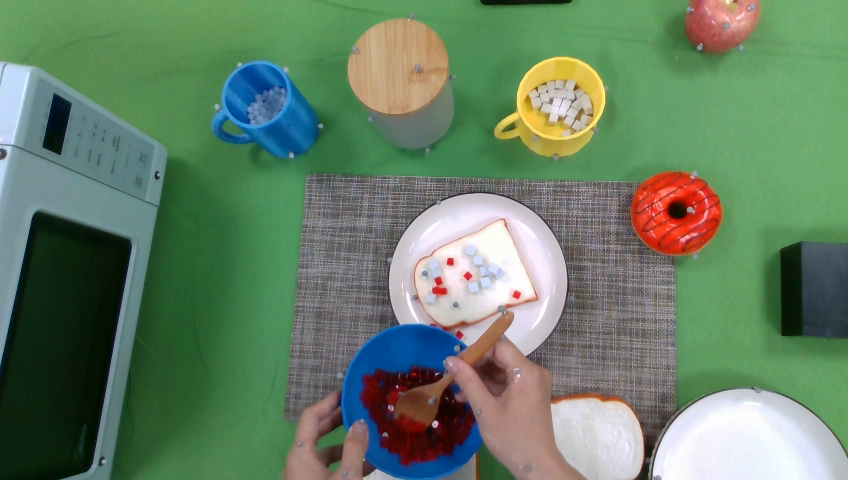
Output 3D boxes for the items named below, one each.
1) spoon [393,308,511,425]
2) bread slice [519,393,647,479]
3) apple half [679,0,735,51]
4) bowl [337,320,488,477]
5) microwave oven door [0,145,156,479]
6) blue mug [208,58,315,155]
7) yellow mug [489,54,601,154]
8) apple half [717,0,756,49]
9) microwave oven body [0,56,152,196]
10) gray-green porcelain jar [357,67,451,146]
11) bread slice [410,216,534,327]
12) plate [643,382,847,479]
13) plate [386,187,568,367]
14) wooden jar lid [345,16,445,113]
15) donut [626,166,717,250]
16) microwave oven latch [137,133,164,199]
[{"bbox_3d":[0.025,0.124,0.577,0.041,0.021,0.194,43,130,5],"label":"spoon"},{"bbox_3d":[0.172,0.219,0.643,0.135,0.018,0.106,-2,77,-14],"label":"bread slice"},{"bbox_3d":[0.320,-0.249,0.708,0.033,0.081,0.081,-30,78,-4],"label":"apple half"},{"bbox_3d":[-0.018,0.164,0.619,0.152,0.077,0.150,6,66,-13],"label":"bowl"},{"bbox_3d":[-0.388,0.106,0.627,0.039,0.245,0.354,5,81,8],"label":"microwave oven door"},{"bbox_3d":[-0.202,-0.152,0.735,0.116,0.106,0.082,-23,79,3],"label":"blue mug"},{"bbox_3d":[0.139,-0.153,0.718,0.131,0.064,0.099,-21,79,3],"label":"yellow mug"},{"bbox_3d":[0.353,-0.270,0.709,0.053,0.075,0.080,-29,75,-4],"label":"apple half"},{"bbox_3d":[-0.526,0.051,0.656,0.325,0.261,0.440,5,82,7],"label":"microwave oven body"},{"bbox_3d":[-0.023,-0.174,0.709,0.106,0.127,0.105,-1,80,6],"label":"gray-green porcelain jar"},{"bbox_3d":[0.051,0.043,0.709,0.131,0.019,0.104,-23,79,0],"label":"bread slice"},{"bbox_3d":[0.338,0.256,0.645,0.209,0.038,0.208,-1,81,7],"label":"plate"},{"bbox_3d":[0.060,0.042,0.706,0.207,0.039,0.207,-1,81,6],"label":"plate"},{"bbox_3d":[-0.030,-0.185,0.648,0.108,0.021,0.108,-1,79,7],"label":"wooden jar lid"},{"bbox_3d":[0.280,-0.036,0.691,0.099,0.048,0.098,-1,81,7],"label":"donut"},{"bbox_3d":[-0.349,-0.093,0.757,0.030,0.029,0.079,8,83,7],"label":"microwave oven latch"}]
